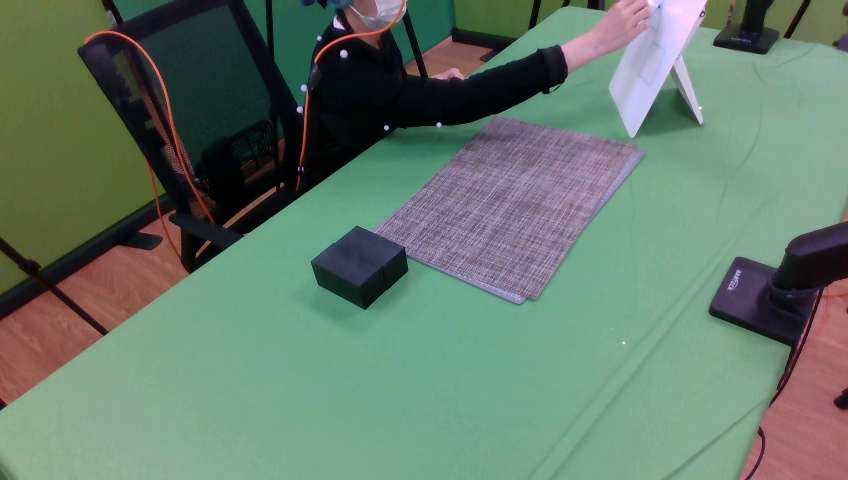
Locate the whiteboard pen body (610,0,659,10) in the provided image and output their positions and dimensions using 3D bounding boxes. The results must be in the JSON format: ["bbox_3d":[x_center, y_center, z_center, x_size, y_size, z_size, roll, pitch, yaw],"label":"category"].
[{"bbox_3d":[0.378,-0.439,1.110,0.142,0.017,0.017,3,36,-24],"label":"whiteboard pen body"}]

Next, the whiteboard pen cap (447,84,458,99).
[{"bbox_3d":[0.059,-0.311,1.262,0.018,0.018,0.033,7,47,16],"label":"whiteboard pen cap"}]

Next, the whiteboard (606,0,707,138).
[{"bbox_3d":[0.496,-0.358,1.147,0.144,0.305,0.216,12,40,-7],"label":"whiteboard"}]
